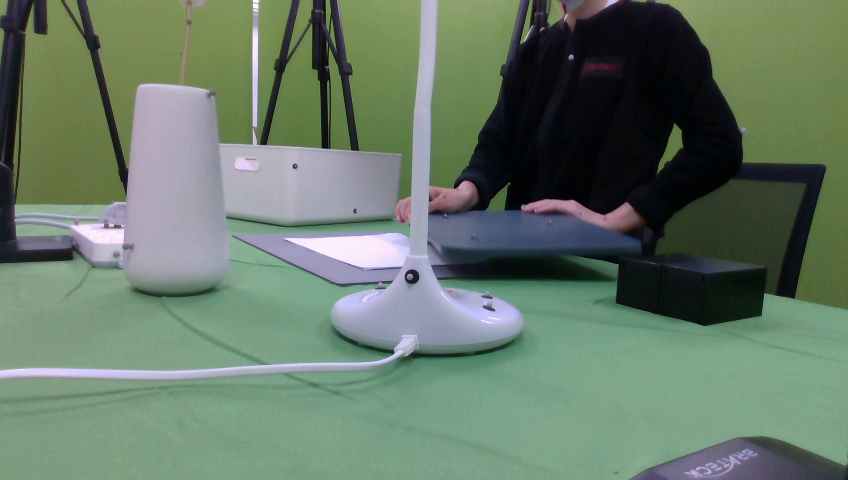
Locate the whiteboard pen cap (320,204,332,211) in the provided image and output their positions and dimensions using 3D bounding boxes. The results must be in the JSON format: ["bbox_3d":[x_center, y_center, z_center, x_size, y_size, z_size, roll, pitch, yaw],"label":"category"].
[{"bbox_3d":[-0.247,-0.082,1.532,0.033,0.018,0.018,9,10,39],"label":"whiteboard pen cap"}]

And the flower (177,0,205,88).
[{"bbox_3d":[-0.243,-0.131,0.609,0.044,0.361,0.038,-5,-12,11],"label":"flower"}]

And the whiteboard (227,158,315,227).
[{"bbox_3d":[-0.265,-0.117,1.373,0.216,0.143,0.307,5,8,36],"label":"whiteboard"}]

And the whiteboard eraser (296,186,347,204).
[{"bbox_3d":[-0.243,-0.107,1.426,0.112,0.042,0.056,5,14,25],"label":"whiteboard eraser"}]

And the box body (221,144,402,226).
[{"bbox_3d":[-0.254,-0.128,1.379,0.253,0.160,0.366,8,9,36],"label":"box body"}]

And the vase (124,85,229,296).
[{"bbox_3d":[-0.244,-0.047,0.598,0.098,0.200,0.098,3,8,0],"label":"vase"}]

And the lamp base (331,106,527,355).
[{"bbox_3d":[0.006,-0.012,0.478,0.161,0.180,0.179,2,10,2],"label":"lamp base"}]

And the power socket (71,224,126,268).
[{"bbox_3d":[-0.409,0.004,0.793,0.072,0.032,0.225,-2,8,-37],"label":"power socket"}]

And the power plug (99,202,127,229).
[{"bbox_3d":[-0.415,-0.026,0.848,0.073,0.052,0.035,6,5,-28],"label":"power plug"}]

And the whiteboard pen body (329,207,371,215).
[{"bbox_3d":[-0.189,-0.074,1.521,0.140,0.017,0.017,7,9,36],"label":"whiteboard pen body"}]

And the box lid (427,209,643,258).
[{"bbox_3d":[0.128,-0.016,0.905,0.264,0.015,0.370,-2,10,-8],"label":"box lid"}]
